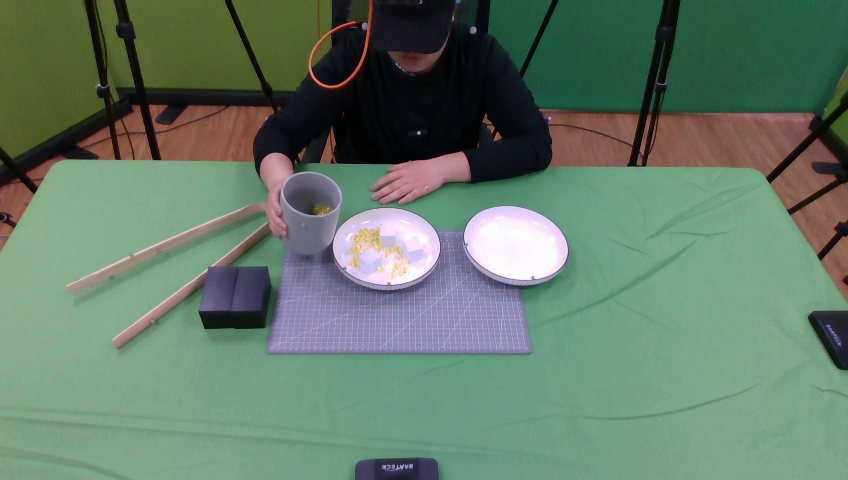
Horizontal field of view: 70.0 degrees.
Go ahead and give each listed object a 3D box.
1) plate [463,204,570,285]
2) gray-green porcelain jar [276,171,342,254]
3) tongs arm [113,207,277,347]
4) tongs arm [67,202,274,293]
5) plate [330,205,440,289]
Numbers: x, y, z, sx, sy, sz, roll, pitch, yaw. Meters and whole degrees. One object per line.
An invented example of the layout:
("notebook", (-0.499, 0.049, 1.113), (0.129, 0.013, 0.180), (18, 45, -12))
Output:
("plate", (0.178, 0.012, 1.184), (0.209, 0.038, 0.208), (3, 46, -3))
("gray-green porcelain jar", (-0.210, -0.044, 1.089), (0.106, 0.127, 0.105), (10, 51, -12))
("tongs arm", (-0.401, 0.058, 1.109), (0.028, 0.028, 0.387), (26, 49, 23))
("tongs arm", (-0.461, 0.013, 1.142), (0.385, 0.026, 0.050), (-31, 56, -31))
("plate", (-0.074, 0.017, 1.161), (0.208, 0.039, 0.206), (2, 47, -2))
